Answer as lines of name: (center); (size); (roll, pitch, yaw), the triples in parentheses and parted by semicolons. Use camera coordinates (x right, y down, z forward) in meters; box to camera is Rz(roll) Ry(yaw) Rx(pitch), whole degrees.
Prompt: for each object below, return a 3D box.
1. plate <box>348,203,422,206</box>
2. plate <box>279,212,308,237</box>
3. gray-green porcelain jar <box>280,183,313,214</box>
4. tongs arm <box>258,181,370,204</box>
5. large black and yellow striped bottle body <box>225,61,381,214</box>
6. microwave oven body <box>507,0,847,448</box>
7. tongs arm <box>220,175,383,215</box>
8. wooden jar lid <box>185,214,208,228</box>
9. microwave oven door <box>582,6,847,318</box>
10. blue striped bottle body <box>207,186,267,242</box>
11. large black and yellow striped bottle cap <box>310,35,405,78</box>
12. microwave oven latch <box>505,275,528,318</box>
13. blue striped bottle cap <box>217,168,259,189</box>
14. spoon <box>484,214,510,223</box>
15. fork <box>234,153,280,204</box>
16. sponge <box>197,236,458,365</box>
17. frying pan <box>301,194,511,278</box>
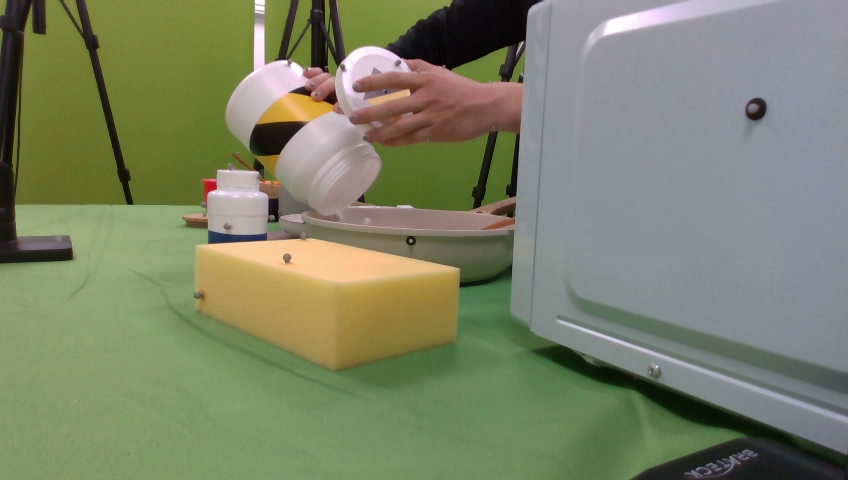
plate: (-0.089, -0.054, 1.309); (0.208, 0.039, 0.207); (2, 8, 0)
plate: (-0.139, -0.022, 1.021); (0.209, 0.038, 0.209); (2, 8, 0)
gray-green porcelain jar: (-0.238, -0.092, 1.221); (0.106, 0.126, 0.106); (2, 7, 0)
tongs arm: (-0.241, -0.095, 1.373); (0.387, 0.026, 0.050); (9, 0, -37)
large black and yellow striped bottle body: (-0.159, -0.135, 0.813); (0.183, 0.130, 0.131); (45, 20, 11)
microwave oven body: (0.331, -0.042, 0.425); (0.444, 0.260, 0.324); (-2, 8, -31)
tongs arm: (-0.285, -0.105, 1.445); (0.389, 0.027, 0.028); (10, -3, -23)
wooden jar lid: (-0.404, -0.037, 1.169); (0.108, 0.020, 0.108); (3, 7, 0)
microwave oven door: (0.295, -0.067, 0.569); (0.358, 0.243, 0.039); (-3, 8, -31)
blue striped bottle body: (-0.204, -0.016, 0.663); (0.063, 0.120, 0.063); (2, 7, 0)
large black and yellow striped bottle cap: (-0.079, -0.219, 0.726); (0.115, 0.019, 0.115); (-14, 7, 2)
microwave oven latch: (0.100, 0.042, 0.472); (0.079, 0.029, 0.030); (-2, 8, -31)
blue striped bottle cap: (-0.202, -0.067, 0.656); (0.044, 0.020, 0.044); (0, 10, 0)
spoon: (0.076, -0.013, 0.794); (0.193, 0.021, 0.042); (-24, -7, 11)
fork: (-0.396, -0.143, 1.487); (0.028, 0.018, 0.208); (20, -26, 45)
sponge: (-0.087, 0.039, 0.500); (0.206, 0.061, 0.119); (8, 10, 44)
frying pan: (0.051, -0.028, 0.864); (0.305, 0.102, 0.490); (8, 18, 35)
